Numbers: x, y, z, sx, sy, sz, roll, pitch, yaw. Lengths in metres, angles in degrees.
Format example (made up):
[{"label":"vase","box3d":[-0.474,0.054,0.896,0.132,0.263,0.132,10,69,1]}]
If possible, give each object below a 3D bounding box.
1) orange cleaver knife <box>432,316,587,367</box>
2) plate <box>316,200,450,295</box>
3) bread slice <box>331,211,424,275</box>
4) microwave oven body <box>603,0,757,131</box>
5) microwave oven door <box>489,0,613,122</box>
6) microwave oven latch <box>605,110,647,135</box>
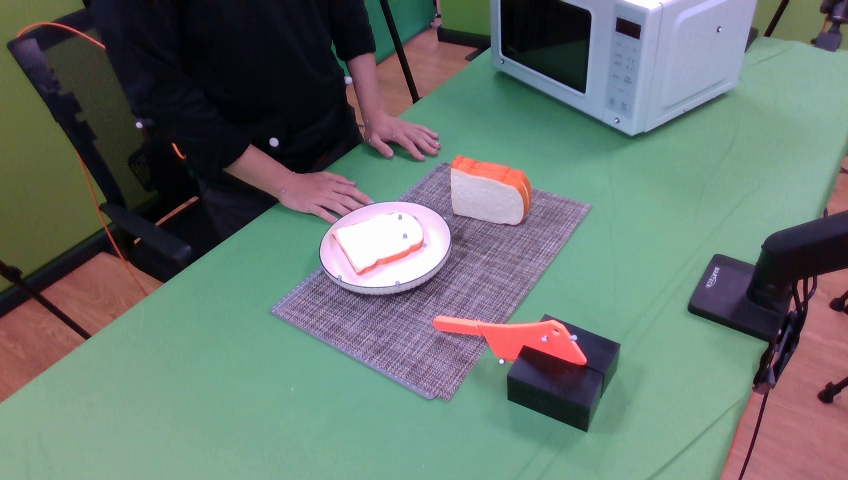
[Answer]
[{"label":"orange cleaver knife","box3d":[0.101,0.127,0.761,0.210,0.077,0.012,-1,34,40]},{"label":"plate","box3d":[-0.062,0.015,0.944,0.207,0.039,0.206,-4,41,4]},{"label":"bread slice","box3d":[-0.069,-0.002,0.960,0.135,0.018,0.106,-22,46,-21]},{"label":"microwave oven body","box3d":[0.396,-0.448,1.248,0.327,0.261,0.437,-27,44,-21]},{"label":"microwave oven door","box3d":[0.251,-0.412,1.219,0.039,0.245,0.352,-27,44,-21]},{"label":"microwave oven latch","box3d":[0.379,-0.225,1.139,0.030,0.029,0.078,-26,43,-19]}]
